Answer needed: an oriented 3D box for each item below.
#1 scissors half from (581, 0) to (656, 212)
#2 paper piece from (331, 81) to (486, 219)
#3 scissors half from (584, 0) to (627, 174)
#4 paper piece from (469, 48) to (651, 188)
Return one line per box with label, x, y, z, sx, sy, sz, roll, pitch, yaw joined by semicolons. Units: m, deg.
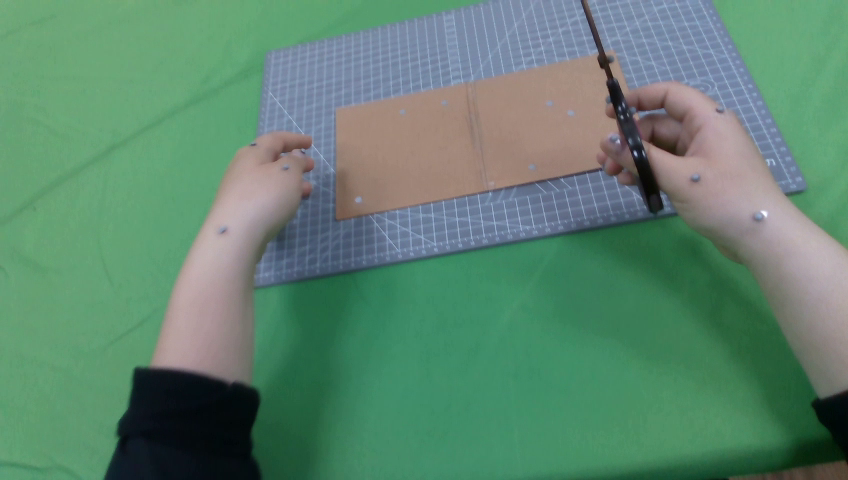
scissors half;0.116;-0.099;0.379;0.013;0.040;0.175;-18;97;17
paper piece;-0.019;-0.086;0.548;0.138;0.009;0.134;-10;52;9
scissors half;0.121;-0.106;0.396;0.013;0.176;0.040;-16;22;22
paper piece;0.111;-0.110;0.529;0.135;0.004;0.134;-10;55;9
